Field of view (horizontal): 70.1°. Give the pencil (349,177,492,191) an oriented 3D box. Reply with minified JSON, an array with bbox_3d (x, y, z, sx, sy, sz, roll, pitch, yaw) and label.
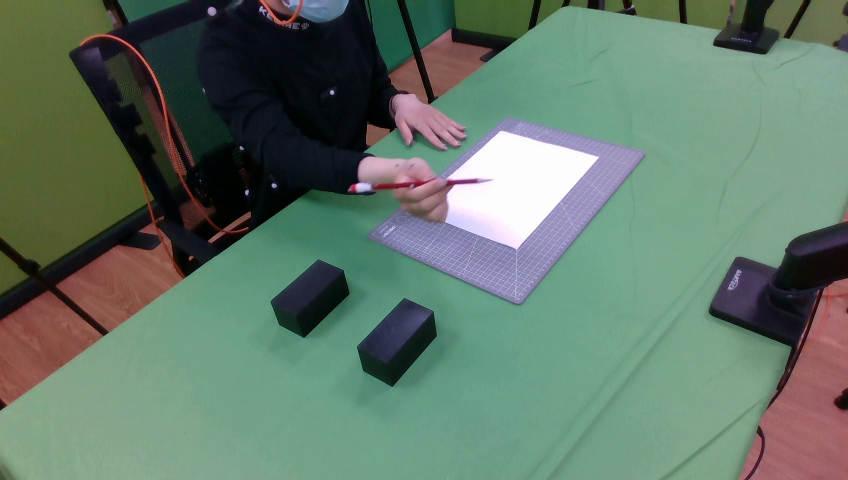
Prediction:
[{"bbox_3d":[-0.005,-0.077,0.819,0.194,0.012,0.012,-3,41,6],"label":"pencil"}]
